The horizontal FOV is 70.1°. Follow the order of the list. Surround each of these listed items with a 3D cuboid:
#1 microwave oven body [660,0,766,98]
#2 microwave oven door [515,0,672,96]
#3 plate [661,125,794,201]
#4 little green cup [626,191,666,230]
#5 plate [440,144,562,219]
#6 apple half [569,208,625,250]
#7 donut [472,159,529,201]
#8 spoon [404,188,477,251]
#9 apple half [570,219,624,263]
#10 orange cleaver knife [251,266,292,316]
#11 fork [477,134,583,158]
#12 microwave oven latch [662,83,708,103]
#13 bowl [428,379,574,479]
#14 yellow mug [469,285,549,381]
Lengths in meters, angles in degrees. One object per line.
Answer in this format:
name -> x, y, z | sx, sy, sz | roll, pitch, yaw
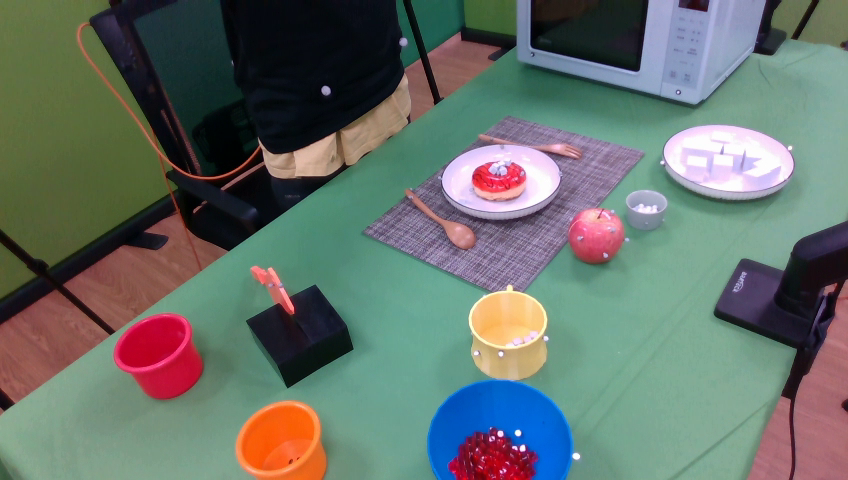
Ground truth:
microwave oven body -> 0.472, -0.513, 1.317 | 0.438, 0.261, 0.327 | 26, 51, 34
microwave oven door -> 0.343, -0.455, 1.259 | 0.353, 0.245, 0.039 | 26, 51, 33
plate -> 0.513, -0.128, 1.035 | 0.207, 0.039, 0.206 | -4, 40, 4
little green cup -> 0.352, -0.046, 0.963 | 0.061, 0.039, 0.061 | -4, 40, 4
plate -> 0.134, -0.098, 1.052 | 0.209, 0.038, 0.208 | -4, 40, 4
apple half -> 0.262, -0.014, 0.913 | 0.080, 0.075, 0.053 | 4, 37, 20
donut -> 0.132, -0.105, 1.044 | 0.099, 0.048, 0.098 | -5, 38, 5
spoon -> 0.020, -0.039, 1.019 | 0.042, 0.022, 0.192 | -30, 45, -23
apple half -> 0.250, 0.010, 0.885 | 0.081, 0.081, 0.033 | 7, 39, 17
orange cleaver knife -> -0.221, 0.071, 0.873 | 0.012, 0.077, 0.210 | -25, 11, -21
fork -> 0.199, -0.182, 1.155 | 0.206, 0.019, 0.028 | 12, 55, 22
microwave oven latch -> 0.518, -0.296, 1.204 | 0.078, 0.029, 0.030 | 28, 52, 35
bowl -> 0.082, 0.233, 0.644 | 0.151, 0.077, 0.150 | -4, 40, 4
yellow mug -> 0.112, 0.112, 0.792 | 0.100, 0.064, 0.130 | 0, 40, 9
